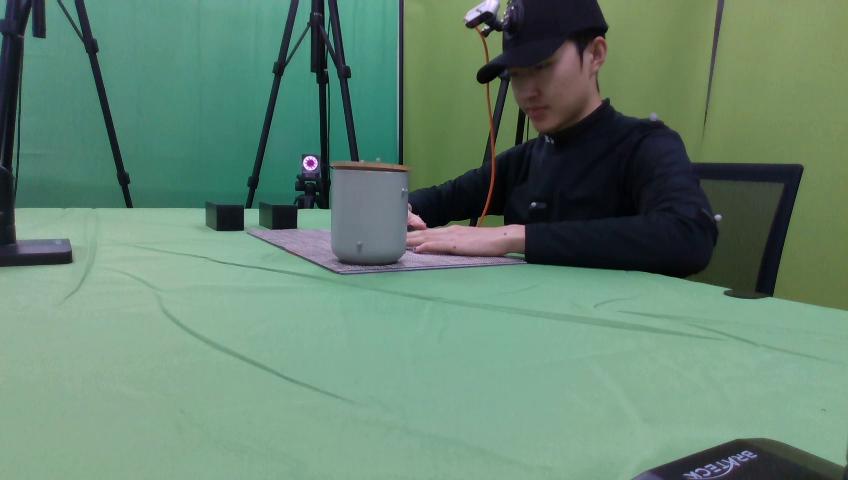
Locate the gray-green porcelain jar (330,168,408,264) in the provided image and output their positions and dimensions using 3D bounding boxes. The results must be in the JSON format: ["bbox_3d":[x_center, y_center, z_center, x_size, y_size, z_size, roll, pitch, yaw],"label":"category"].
[{"bbox_3d":[-0.075,-0.035,0.833,0.106,0.126,0.106,2,7,0],"label":"gray-green porcelain jar"}]

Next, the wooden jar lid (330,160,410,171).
[{"bbox_3d":[-0.074,-0.096,0.825,0.108,0.020,0.108,3,3,0],"label":"wooden jar lid"}]
